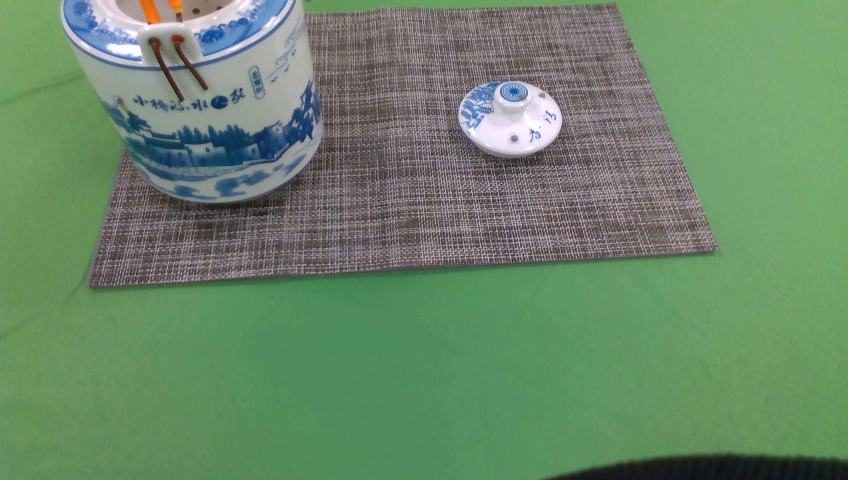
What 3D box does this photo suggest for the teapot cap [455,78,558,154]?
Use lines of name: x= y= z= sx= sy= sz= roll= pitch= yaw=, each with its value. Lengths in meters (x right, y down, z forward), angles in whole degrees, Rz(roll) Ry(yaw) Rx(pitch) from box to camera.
teapot cap: x=0.067 y=-0.107 z=0.493 sx=0.085 sy=0.044 sz=0.084 roll=-1 pitch=55 yaw=1

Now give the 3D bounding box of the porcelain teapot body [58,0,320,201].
porcelain teapot body: x=-0.158 y=-0.162 z=0.413 sx=0.145 sy=0.227 sz=0.203 roll=-9 pitch=56 yaw=-7
